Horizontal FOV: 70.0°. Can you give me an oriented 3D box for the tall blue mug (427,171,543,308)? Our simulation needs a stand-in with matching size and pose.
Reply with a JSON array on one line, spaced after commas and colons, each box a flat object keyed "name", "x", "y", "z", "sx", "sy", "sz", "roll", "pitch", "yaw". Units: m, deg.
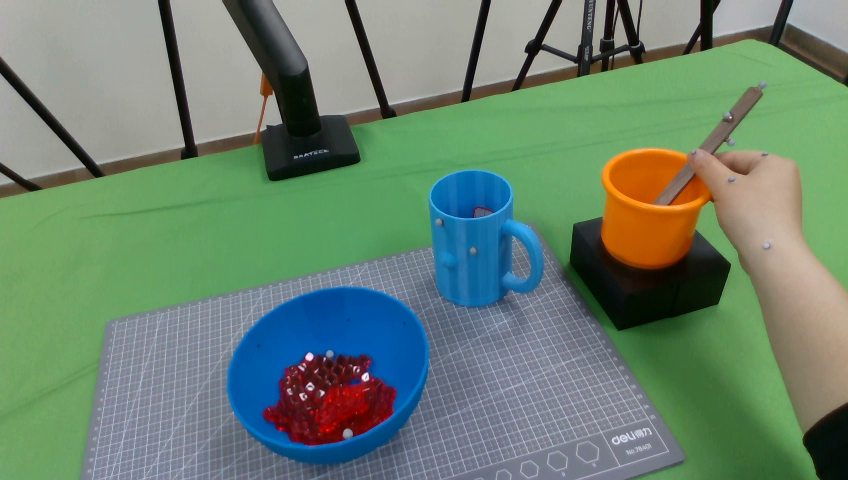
[{"name": "tall blue mug", "x": 0.060, "y": 0.003, "z": 0.569, "sx": 0.107, "sy": 0.109, "sz": 0.077, "roll": 5, "pitch": 41, "yaw": 12}]

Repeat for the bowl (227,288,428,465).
[{"name": "bowl", "x": -0.068, "y": 0.117, "z": 0.475, "sx": 0.151, "sy": 0.077, "sz": 0.150, "roll": -3, "pitch": 41, "yaw": 3}]

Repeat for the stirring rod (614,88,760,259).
[{"name": "stirring rod", "x": 0.224, "y": -0.055, "z": 0.522, "sx": 0.176, "sy": 0.006, "sz": 0.014, "roll": -54, "pitch": 49, "yaw": 12}]
